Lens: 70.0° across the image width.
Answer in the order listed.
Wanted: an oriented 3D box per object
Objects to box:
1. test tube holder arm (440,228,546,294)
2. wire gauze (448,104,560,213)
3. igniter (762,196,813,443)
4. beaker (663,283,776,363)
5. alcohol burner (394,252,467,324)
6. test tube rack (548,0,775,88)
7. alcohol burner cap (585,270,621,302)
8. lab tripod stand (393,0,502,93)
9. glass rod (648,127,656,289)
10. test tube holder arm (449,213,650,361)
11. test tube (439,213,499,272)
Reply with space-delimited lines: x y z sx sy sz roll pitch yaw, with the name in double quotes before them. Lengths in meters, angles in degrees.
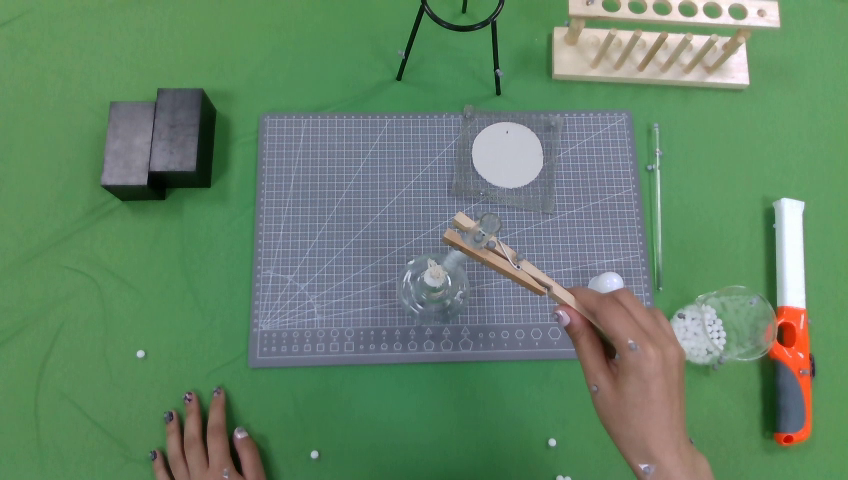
"test tube holder arm" 0.053 0.016 0.452 0.088 0.015 0.010 27 79 0
"wire gauze" 0.097 -0.100 0.721 0.125 0.011 0.121 10 77 0
"igniter" 0.405 0.084 0.678 0.057 0.025 0.275 10 75 -10
"beaker" 0.301 0.089 0.636 0.084 0.101 0.074 30 76 7
"alcohol burner" 0.007 0.046 0.626 0.078 0.119 0.077 0 74 0
"test tube rack" 0.278 -0.238 0.726 0.242 0.085 0.066 3 75 -1
"alcohol burner cap" 0.200 0.048 0.669 0.034 0.048 0.033 0 75 -2
"lab tripod stand" 0.032 -0.240 0.693 0.148 0.132 0.147 0 77 -1
"glass rod" 0.269 -0.041 0.714 0.008 0.008 0.199 4 78 -1
"test tube holder arm" 0.094 0.035 0.453 0.178 0.015 0.013 34 79 1
"test tube" 0.032 0.006 0.474 0.017 0.150 0.017 2 77 -9
